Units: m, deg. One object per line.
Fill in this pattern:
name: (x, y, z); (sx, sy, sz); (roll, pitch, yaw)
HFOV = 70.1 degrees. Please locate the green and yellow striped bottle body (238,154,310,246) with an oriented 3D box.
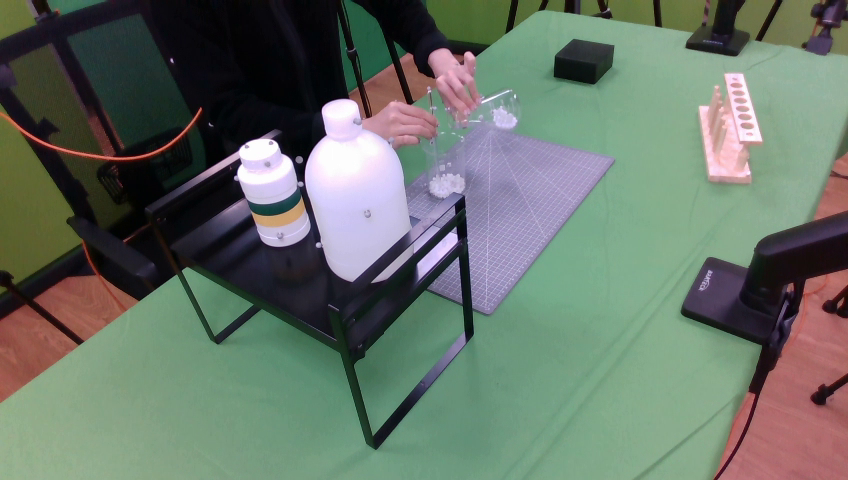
green and yellow striped bottle body: (-0.178, -0.056, 0.714); (0.063, 0.120, 0.063); (-4, 40, 4)

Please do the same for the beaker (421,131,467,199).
beaker: (0.040, -0.130, 1.060); (0.084, 0.100, 0.073); (-24, 43, -19)

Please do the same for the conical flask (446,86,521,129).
conical flask: (0.100, -0.219, 1.036); (0.122, 0.075, 0.074); (-15, 41, -22)

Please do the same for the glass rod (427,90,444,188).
glass rod: (0.021, -0.163, 1.009); (0.008, 0.200, 0.008); (-5, 45, 5)

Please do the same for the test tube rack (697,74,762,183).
test tube rack: (0.547, -0.208, 1.094); (0.066, 0.085, 0.242); (5, 42, 15)

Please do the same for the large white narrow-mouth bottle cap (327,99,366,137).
large white narrow-mouth bottle cap: (-0.075, -0.118, 0.582); (0.038, 0.024, 0.037); (-3, 40, 3)

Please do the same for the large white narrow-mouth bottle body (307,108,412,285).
large white narrow-mouth bottle body: (-0.070, -0.051, 0.638); (0.102, 0.195, 0.101); (-3, 40, 3)

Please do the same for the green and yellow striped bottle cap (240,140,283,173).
green and yellow striped bottle cap: (-0.183, -0.094, 0.679); (0.045, 0.020, 0.045); (-5, 38, 4)
